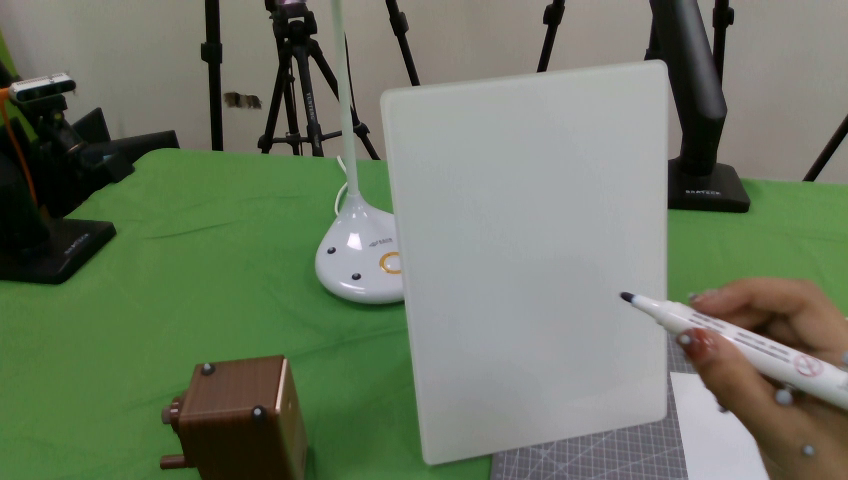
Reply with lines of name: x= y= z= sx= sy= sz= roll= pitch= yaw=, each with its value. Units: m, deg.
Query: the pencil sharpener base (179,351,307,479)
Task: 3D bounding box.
pencil sharpener base: x=-0.139 y=0.146 z=0.473 sx=0.077 sy=0.108 sz=0.061 roll=-5 pitch=35 yaw=-3

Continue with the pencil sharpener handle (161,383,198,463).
pencil sharpener handle: x=-0.190 y=0.142 z=0.460 sx=0.031 sy=0.068 sz=0.035 roll=-5 pitch=22 yaw=-3

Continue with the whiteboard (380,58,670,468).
whiteboard: x=0.081 y=0.010 z=0.537 sx=0.217 sy=0.307 sz=0.143 roll=-8 pitch=16 yaw=-7

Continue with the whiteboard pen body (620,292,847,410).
whiteboard pen body: x=0.151 y=0.051 z=0.268 sx=0.139 sy=0.017 sz=0.017 roll=24 pitch=43 yaw=37

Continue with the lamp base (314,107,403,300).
lamp base: x=-0.062 y=-0.050 z=0.692 sx=0.161 sy=0.182 sz=0.177 roll=-25 pitch=38 yaw=-29

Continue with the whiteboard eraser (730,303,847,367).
whiteboard eraser: x=0.357 y=0.093 z=0.576 sx=0.112 sy=0.042 sz=0.055 roll=7 pitch=37 yaw=13
